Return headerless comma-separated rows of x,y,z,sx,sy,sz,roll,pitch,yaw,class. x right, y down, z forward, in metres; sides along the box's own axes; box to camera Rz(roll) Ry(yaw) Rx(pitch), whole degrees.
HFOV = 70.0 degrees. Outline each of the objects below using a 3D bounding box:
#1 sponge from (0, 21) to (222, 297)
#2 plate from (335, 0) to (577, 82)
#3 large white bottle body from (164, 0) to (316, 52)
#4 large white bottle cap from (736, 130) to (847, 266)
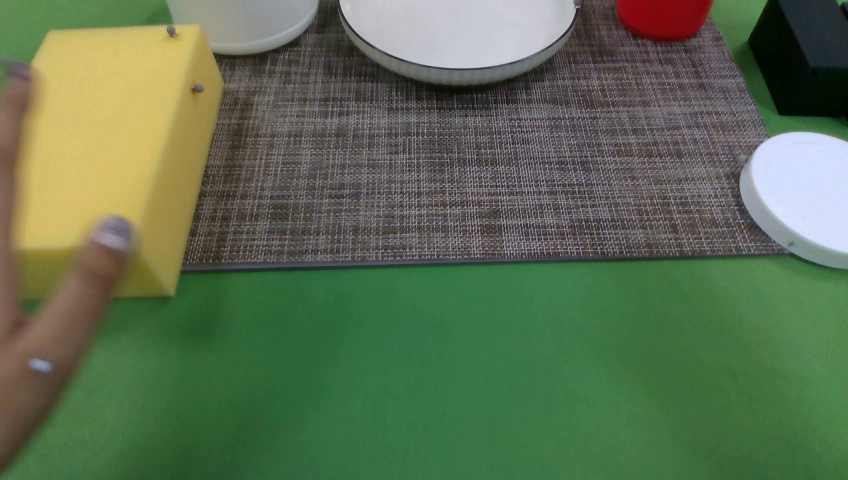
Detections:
-0.222,-0.064,0.422,0.118,0.061,0.205,-3,55,0,sponge
0.027,-0.206,0.537,0.209,0.038,0.207,1,55,-1,plate
-0.165,-0.263,0.483,0.130,0.186,0.129,-1,53,1,large white bottle body
0.285,-0.033,0.434,0.115,0.018,0.113,2,56,-2,large white bottle cap
